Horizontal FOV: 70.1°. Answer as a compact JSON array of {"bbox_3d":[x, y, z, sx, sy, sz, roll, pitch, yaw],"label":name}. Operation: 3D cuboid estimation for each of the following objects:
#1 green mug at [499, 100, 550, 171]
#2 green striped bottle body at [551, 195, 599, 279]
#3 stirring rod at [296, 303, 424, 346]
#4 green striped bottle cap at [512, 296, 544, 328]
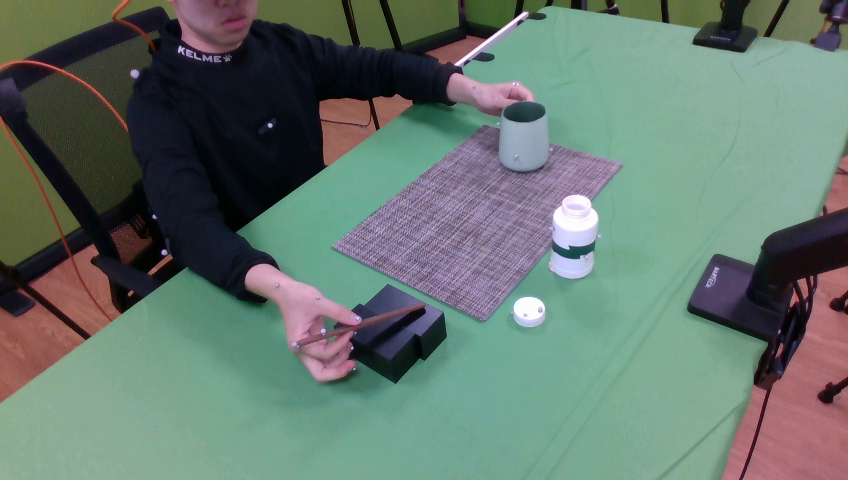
[{"bbox_3d":[0.183,-0.197,1.101,0.092,0.105,0.125,0,41,9],"label":"green mug"},{"bbox_3d":[0.217,-0.006,0.870,0.063,0.120,0.063,-4,41,4],"label":"green striped bottle body"},{"bbox_3d":[-0.077,0.105,0.762,0.177,0.006,0.014,-14,15,-29],"label":"stirring rod"},{"bbox_3d":[0.144,0.099,0.837,0.044,0.020,0.044,-1,43,2],"label":"green striped bottle cap"}]
